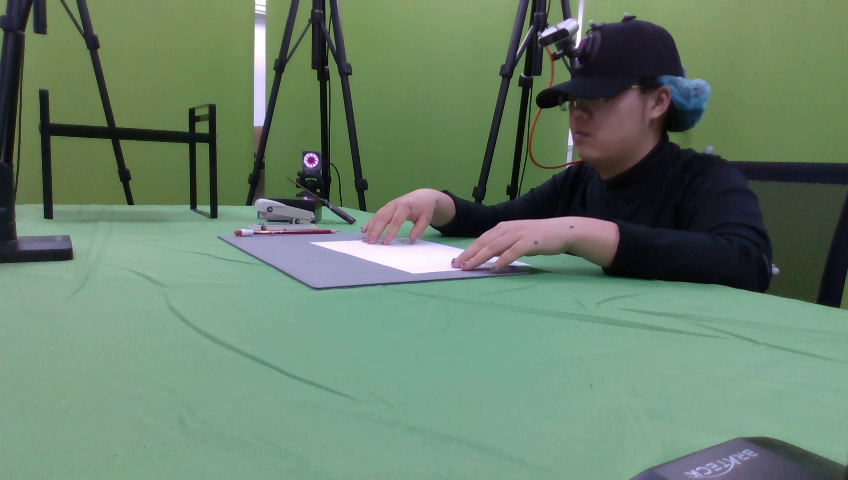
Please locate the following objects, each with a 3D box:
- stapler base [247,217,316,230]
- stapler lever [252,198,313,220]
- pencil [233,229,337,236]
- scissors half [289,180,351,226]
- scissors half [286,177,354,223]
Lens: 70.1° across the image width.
[{"bbox_3d":[-0.276,-0.033,1.172,0.131,0.024,0.041,0,10,-37],"label":"stapler base"},{"bbox_3d":[-0.273,-0.058,1.170,0.119,0.040,0.026,0,10,-37],"label":"stapler lever"},{"bbox_3d":[-0.240,-0.014,1.065,0.195,0.012,0.012,-1,8,-37],"label":"pencil"},{"bbox_3d":[-0.232,-0.085,1.317,0.175,0.013,0.040,37,19,4],"label":"scissors half"},{"bbox_3d":[-0.230,-0.090,1.337,0.175,0.013,0.040,33,14,-13],"label":"scissors half"}]
